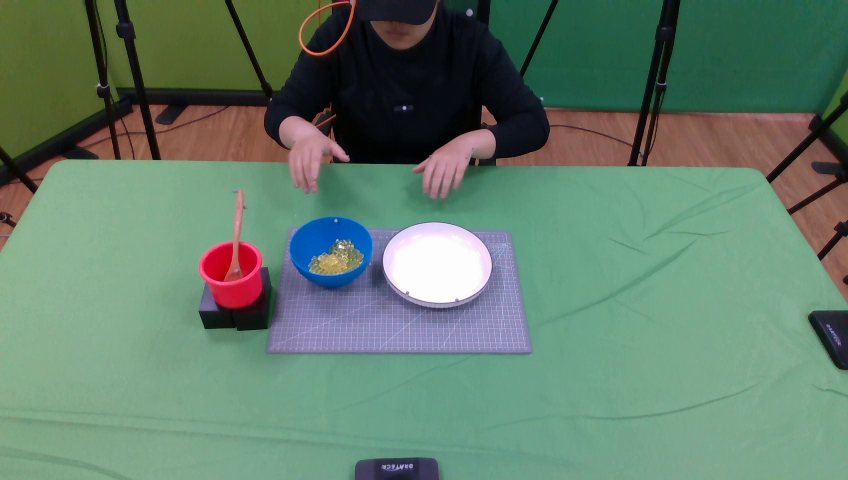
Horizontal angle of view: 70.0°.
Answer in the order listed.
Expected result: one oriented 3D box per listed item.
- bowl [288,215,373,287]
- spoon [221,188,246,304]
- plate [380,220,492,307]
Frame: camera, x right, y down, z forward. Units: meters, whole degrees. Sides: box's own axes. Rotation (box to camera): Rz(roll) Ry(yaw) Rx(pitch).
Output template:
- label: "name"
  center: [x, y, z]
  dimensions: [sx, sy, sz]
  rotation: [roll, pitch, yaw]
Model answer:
- label: "bowl"
  center: [-0.168, 0.034, 1.109]
  dimensions: [0.151, 0.077, 0.150]
  rotation: [2, 46, -2]
- label: "spoon"
  center: [-0.312, 0.010, 1.011]
  dimensions: [0.041, 0.021, 0.193]
  rotation: [4, 90, 3]
- label: "plate"
  center: [0.021, 0.048, 1.137]
  dimensions: [0.208, 0.039, 0.206]
  rotation: [2, 46, -2]
